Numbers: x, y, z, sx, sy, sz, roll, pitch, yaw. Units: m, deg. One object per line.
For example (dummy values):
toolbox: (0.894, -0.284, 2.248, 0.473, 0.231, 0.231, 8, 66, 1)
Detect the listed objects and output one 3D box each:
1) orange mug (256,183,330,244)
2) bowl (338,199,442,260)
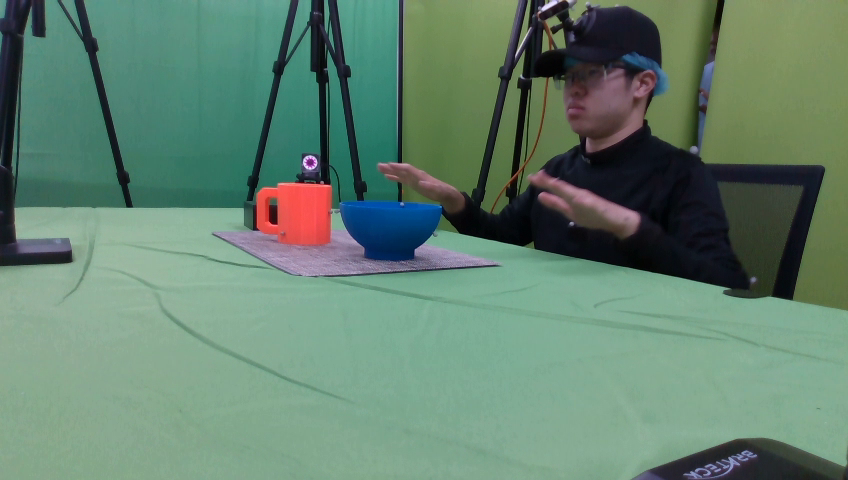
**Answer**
orange mug: (-0.216, -0.047, 0.999, 0.126, 0.100, 0.083, 7, 8, 8)
bowl: (-0.050, -0.015, 0.878, 0.151, 0.077, 0.151, 2, 8, 0)
